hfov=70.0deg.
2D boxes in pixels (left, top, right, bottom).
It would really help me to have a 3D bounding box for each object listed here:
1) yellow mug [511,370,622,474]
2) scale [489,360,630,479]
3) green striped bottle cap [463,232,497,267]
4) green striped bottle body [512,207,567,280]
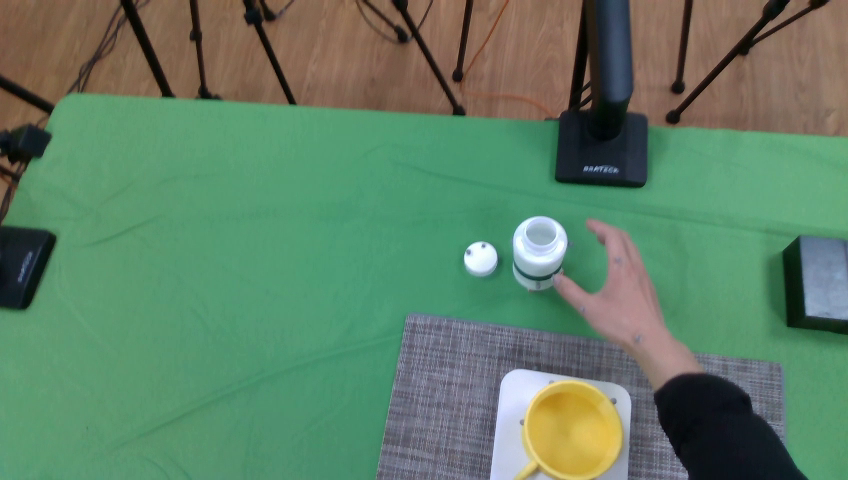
[{"bbox_3d":[0.143,0.204,0.646,0.131,0.064,0.099,-40,70,-8],"label":"yellow mug"},{"bbox_3d":[0.152,0.241,0.681,0.148,0.032,0.199,6,70,10],"label":"scale"},{"bbox_3d":[0.073,0.012,0.796,0.044,0.020,0.044,-2,74,6],"label":"green striped bottle cap"},{"bbox_3d":[0.139,0.002,0.735,0.063,0.120,0.062,-2,69,7],"label":"green striped bottle body"}]
